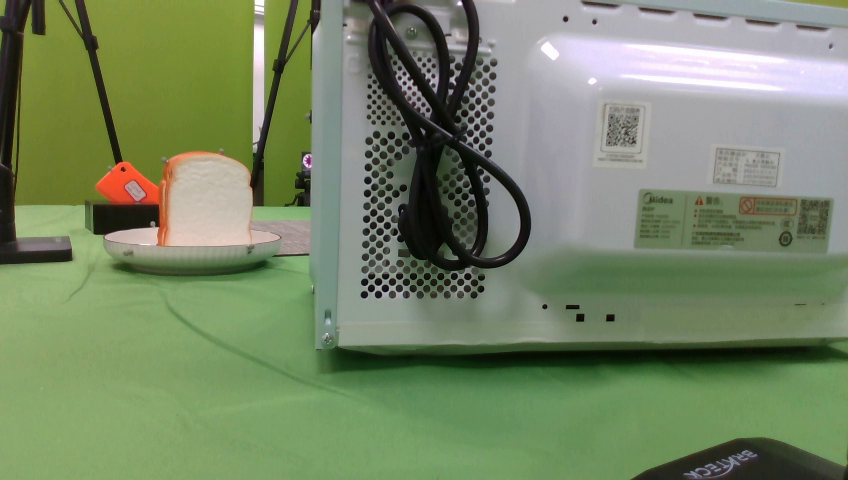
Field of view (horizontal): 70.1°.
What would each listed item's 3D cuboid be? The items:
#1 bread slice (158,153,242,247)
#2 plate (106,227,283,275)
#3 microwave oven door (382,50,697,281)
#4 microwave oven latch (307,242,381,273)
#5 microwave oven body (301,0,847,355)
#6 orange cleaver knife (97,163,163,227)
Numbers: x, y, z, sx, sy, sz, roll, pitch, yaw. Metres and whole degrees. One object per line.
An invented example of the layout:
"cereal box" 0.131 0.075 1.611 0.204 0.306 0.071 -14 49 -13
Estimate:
"bread slice" -0.287 -0.045 0.788 0.107 0.134 0.018 2 8 -35
"plate" -0.288 0.013 0.772 0.208 0.039 0.207 2 7 0
"microwave oven door" 0.135 -0.077 0.685 0.357 0.243 0.039 1 8 -12
"microwave oven latch" -0.086 0.019 0.656 0.079 0.029 0.030 2 7 -11
"microwave oven body" 0.120 -0.053 0.535 0.443 0.260 0.325 2 7 -11
"orange cleaver knife" -0.472 -0.062 1.087 0.212 0.077 0.012 34 -14 -36
